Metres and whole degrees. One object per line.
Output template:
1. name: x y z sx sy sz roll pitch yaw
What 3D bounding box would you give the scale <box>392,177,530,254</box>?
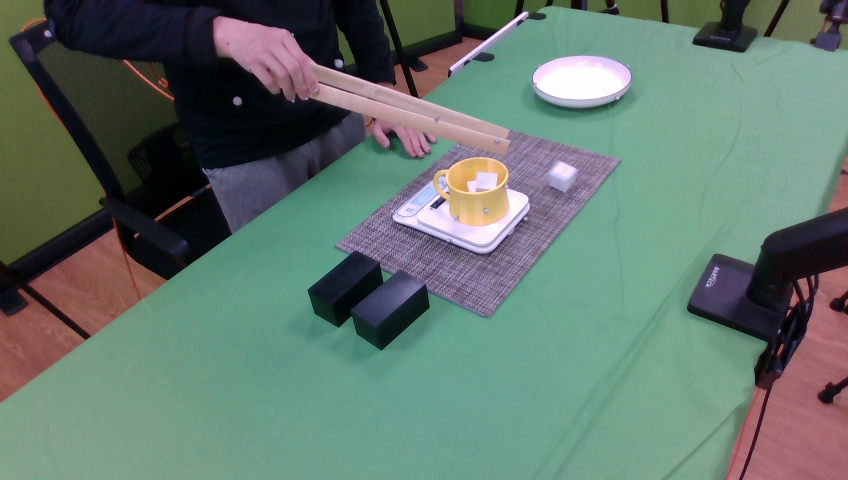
1. scale: 0.060 -0.050 1.006 0.199 0.032 0.149 22 48 30

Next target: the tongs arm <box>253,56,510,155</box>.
1. tongs arm: -0.059 -0.196 0.887 0.386 0.026 0.050 14 38 -10

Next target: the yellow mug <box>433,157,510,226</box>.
1. yellow mug: 0.072 -0.082 0.968 0.130 0.064 0.100 13 45 24

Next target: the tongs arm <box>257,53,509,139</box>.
1. tongs arm: -0.057 -0.212 0.909 0.389 0.028 0.028 15 41 -8

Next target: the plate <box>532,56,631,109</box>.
1. plate: 0.336 -0.335 1.301 0.207 0.039 0.206 -4 41 4
